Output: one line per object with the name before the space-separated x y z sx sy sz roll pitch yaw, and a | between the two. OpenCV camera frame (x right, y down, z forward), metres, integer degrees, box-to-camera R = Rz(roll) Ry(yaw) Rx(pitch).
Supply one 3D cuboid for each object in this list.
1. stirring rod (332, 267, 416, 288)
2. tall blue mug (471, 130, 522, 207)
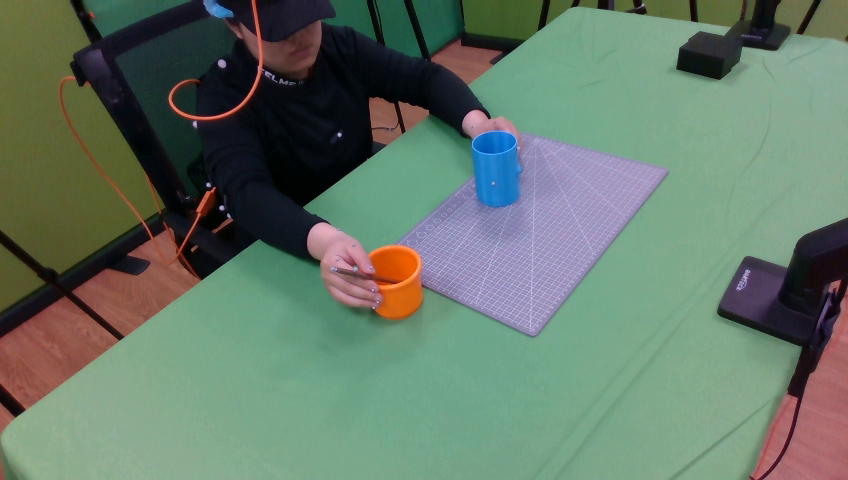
stirring rod | -0.064 0.053 0.836 0.014 0.178 0.006 27 95 35
tall blue mug | 0.121 -0.131 1.044 0.078 0.108 0.106 -14 40 -3
